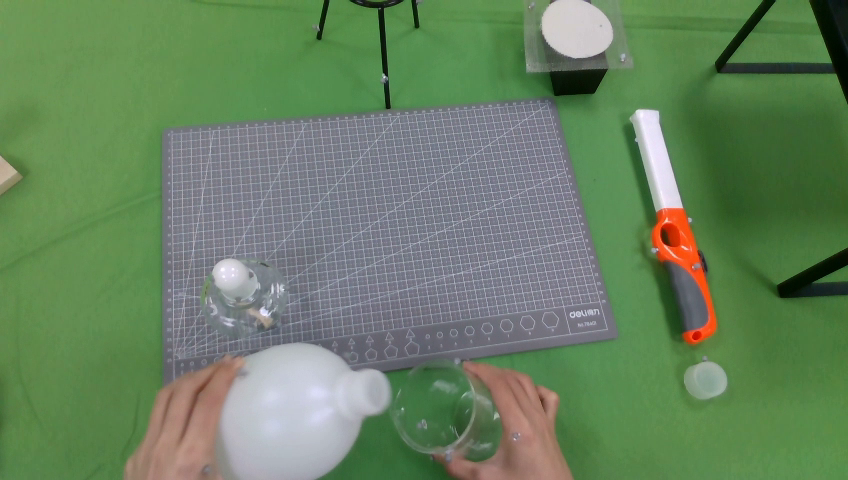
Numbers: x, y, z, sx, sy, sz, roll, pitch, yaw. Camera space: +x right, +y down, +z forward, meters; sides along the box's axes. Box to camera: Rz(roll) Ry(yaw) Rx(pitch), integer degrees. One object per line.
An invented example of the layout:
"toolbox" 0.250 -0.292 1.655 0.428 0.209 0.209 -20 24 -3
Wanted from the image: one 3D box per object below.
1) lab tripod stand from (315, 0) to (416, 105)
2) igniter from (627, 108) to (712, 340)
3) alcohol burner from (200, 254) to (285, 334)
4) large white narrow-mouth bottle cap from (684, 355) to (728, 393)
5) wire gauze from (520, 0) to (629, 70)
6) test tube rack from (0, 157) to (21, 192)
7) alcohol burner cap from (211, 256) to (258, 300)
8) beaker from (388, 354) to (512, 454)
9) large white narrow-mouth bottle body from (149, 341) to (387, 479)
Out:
"lab tripod stand" -0.056 -0.247 0.671 0.148 0.132 0.147 3 69 -6
"igniter" 0.270 -0.025 0.671 0.057 0.025 0.274 1 68 -16
"alcohol burner" -0.168 0.044 0.553 0.078 0.120 0.077 3 66 -6
"large white narrow-mouth bottle cap" 0.284 0.135 0.613 0.038 0.024 0.037 2 67 -4
"wire gauze" 0.172 -0.250 0.708 0.121 0.011 0.124 1 68 -5
"test tube rack" -0.521 -0.020 0.562 0.066 0.085 0.242 39 70 10
"alcohol burner cap" -0.165 0.031 0.519 0.034 0.048 0.033 1 73 -2
"beaker" 0.027 0.147 0.524 0.084 0.101 0.073 -13 63 25
"large white narrow-mouth bottle body" -0.110 0.130 0.454 0.194 0.103 0.101 -23 65 30
